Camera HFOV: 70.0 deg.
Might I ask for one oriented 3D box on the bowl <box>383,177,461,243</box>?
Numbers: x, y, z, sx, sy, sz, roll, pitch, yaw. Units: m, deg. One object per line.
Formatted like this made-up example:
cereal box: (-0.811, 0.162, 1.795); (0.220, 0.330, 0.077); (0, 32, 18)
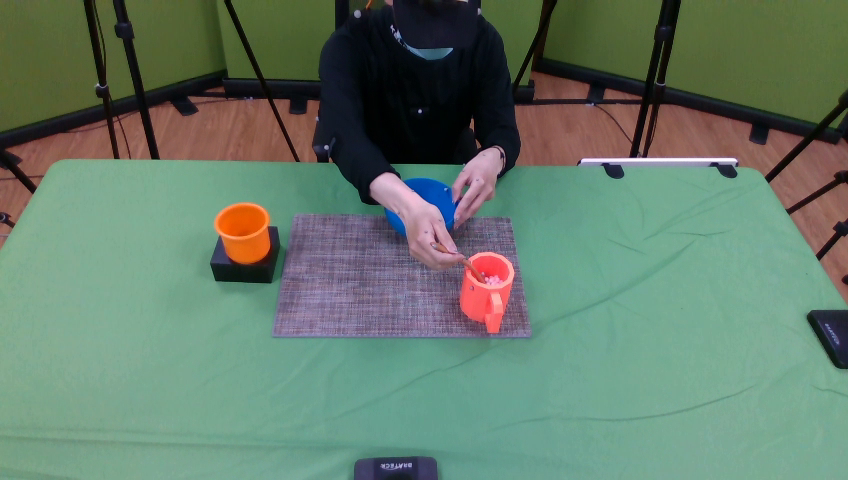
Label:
bowl: (-0.005, -0.047, 1.197); (0.151, 0.077, 0.150); (2, 46, -2)

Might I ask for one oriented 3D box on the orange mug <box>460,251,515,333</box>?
orange mug: (0.114, 0.095, 1.053); (0.083, 0.101, 0.125); (-5, 42, -8)

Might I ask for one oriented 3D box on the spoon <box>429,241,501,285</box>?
spoon: (0.074, 0.044, 1.025); (0.021, 0.195, 0.041); (-43, 39, 13)
